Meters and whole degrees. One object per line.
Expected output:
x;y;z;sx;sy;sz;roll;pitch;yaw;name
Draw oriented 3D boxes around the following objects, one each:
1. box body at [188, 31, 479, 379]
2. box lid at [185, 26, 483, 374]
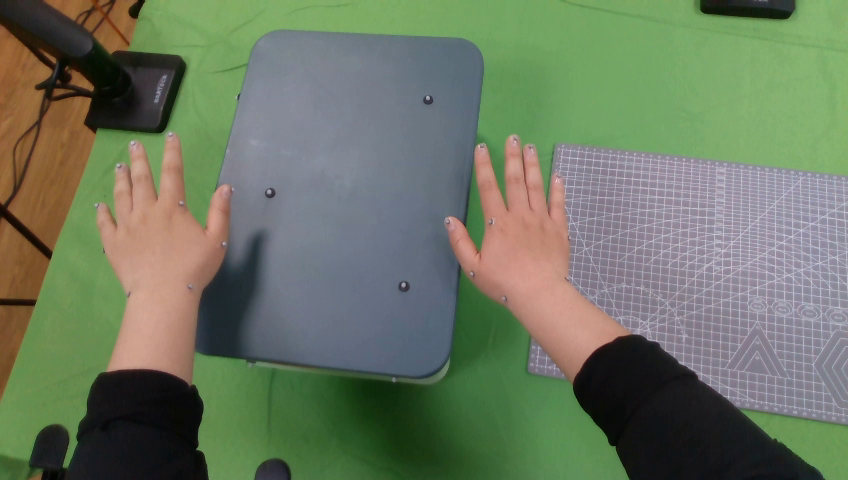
-0.077;-0.034;0.689;0.254;0.161;0.362;5;72;6;box body
-0.083;-0.060;0.619;0.263;0.015;0.369;5;73;6;box lid
